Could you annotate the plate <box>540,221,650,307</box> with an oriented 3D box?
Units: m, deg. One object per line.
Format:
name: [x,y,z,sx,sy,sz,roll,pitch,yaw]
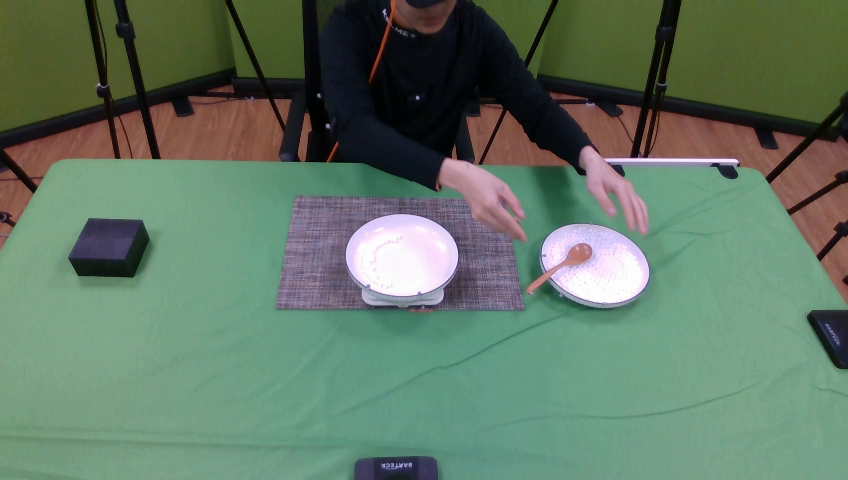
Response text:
plate: [0.325,0.048,1.164,0.209,0.038,0.208,2,46,-2]

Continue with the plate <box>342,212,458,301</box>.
plate: [-0.043,0.033,1.105,0.208,0.039,0.206,2,46,-2]

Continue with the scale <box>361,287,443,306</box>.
scale: [-0.042,0.040,1.143,0.149,0.032,0.199,0,46,-4]

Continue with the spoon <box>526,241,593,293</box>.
spoon: [0.253,0.050,1.134,0.194,0.022,0.041,-27,53,-35]
